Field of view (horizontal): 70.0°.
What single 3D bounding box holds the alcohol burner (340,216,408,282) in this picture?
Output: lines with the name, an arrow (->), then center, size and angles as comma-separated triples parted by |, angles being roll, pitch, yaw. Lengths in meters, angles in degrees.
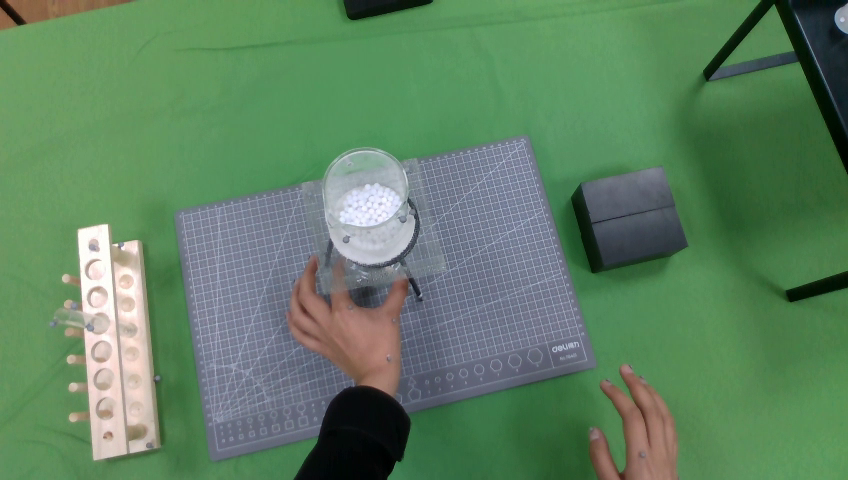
alcohol burner -> -0.056, 0.006, 0.675 | 0.078, 0.119, 0.077 | 0, 76, -2

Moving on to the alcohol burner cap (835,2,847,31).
alcohol burner cap -> 0.432, -0.229, 0.591 | 0.034, 0.048, 0.033 | 0, 75, -1

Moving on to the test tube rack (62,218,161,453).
test tube rack -> -0.350, 0.106, 0.666 | 0.067, 0.085, 0.241 | -10, 77, -3

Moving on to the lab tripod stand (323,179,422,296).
lab tripod stand -> -0.050, -0.008, 0.668 | 0.148, 0.132, 0.147 | 0, 75, 1

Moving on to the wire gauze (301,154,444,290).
wire gauze -> -0.052, -0.019, 0.603 | 0.125, 0.011, 0.121 | -11, 78, -6

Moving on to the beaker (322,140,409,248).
beaker -> -0.053, -0.035, 0.558 | 0.074, 0.100, 0.084 | 42, 79, 9

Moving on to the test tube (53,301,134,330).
test tube -> -0.333, 0.079, 0.621 | 0.017, 0.151, 0.017 | 1, 77, -3
